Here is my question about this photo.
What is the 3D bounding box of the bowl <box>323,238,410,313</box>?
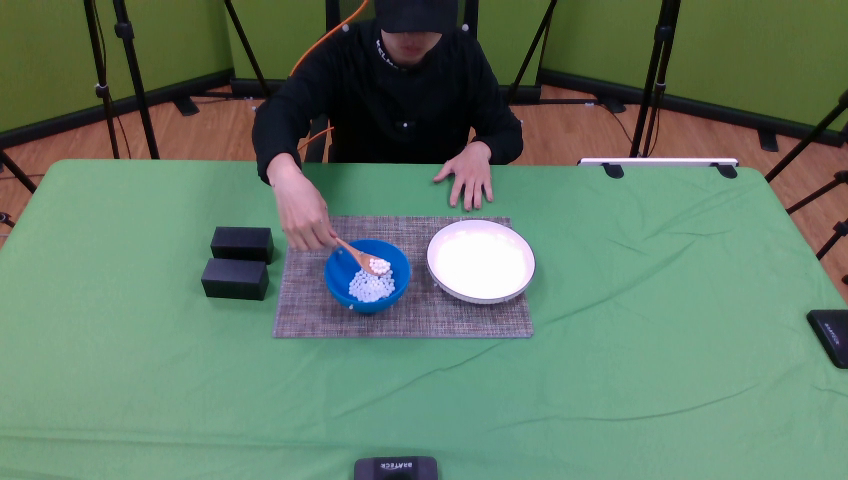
[{"bbox_3d":[-0.101,0.077,1.073,0.151,0.077,0.150,2,46,-2],"label":"bowl"}]

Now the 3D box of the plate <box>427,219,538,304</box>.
[{"bbox_3d":[0.109,0.044,1.149,0.208,0.039,0.206,2,46,-2],"label":"plate"}]

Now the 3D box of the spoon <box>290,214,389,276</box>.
[{"bbox_3d":[-0.146,0.005,1.048,0.194,0.022,0.041,34,53,-6],"label":"spoon"}]
